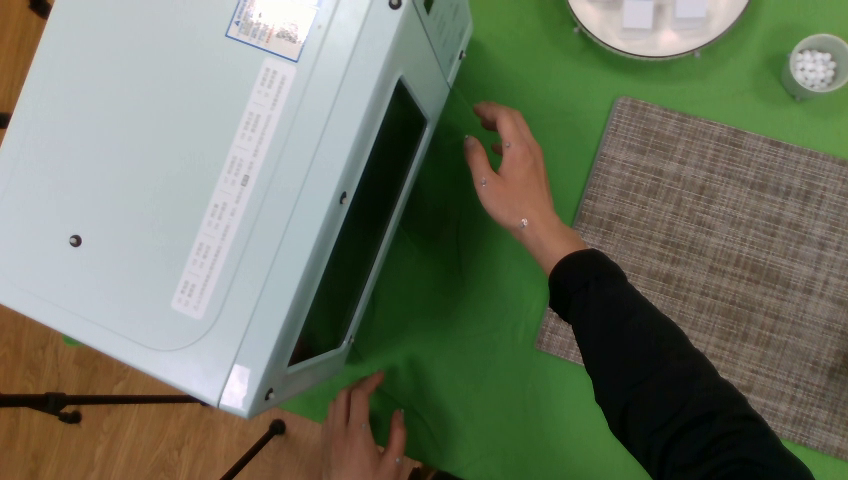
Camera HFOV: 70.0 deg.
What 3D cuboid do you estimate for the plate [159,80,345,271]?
[{"bbox_3d":[-0.185,-0.069,0.666,0.209,0.038,0.209,0,88,8],"label":"plate"}]

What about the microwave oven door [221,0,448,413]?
[{"bbox_3d":[-0.070,-0.025,0.588,0.039,0.244,0.355,22,91,10],"label":"microwave oven door"}]

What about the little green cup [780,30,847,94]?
[{"bbox_3d":[0.410,-0.185,0.638,0.061,0.039,0.061,0,88,9],"label":"little green cup"}]

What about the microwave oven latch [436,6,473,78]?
[{"bbox_3d":[0.030,-0.225,0.681,0.030,0.029,0.079,24,93,9],"label":"microwave oven latch"}]

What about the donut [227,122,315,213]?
[{"bbox_3d":[-0.165,-0.077,0.654,0.099,0.048,0.099,2,100,14],"label":"donut"}]

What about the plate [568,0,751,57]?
[{"bbox_3d":[0.257,-0.300,0.666,0.207,0.039,0.207,0,88,9],"label":"plate"}]

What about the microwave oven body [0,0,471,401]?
[{"bbox_3d":[-0.187,-0.118,0.615,0.325,0.261,0.441,22,92,9],"label":"microwave oven body"}]
